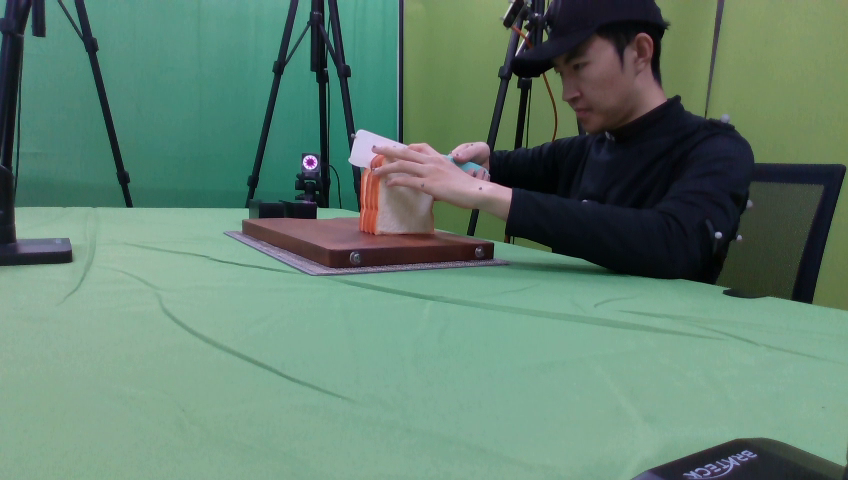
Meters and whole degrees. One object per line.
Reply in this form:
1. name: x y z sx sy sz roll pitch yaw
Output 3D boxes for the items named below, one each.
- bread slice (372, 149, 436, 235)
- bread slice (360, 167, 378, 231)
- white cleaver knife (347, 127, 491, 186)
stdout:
1. bread slice: -0.031 -0.073 0.938 0.107 0.134 0.018 -4 9 -31
2. bread slice: -0.055 -0.080 0.986 0.105 0.131 0.019 0 0 -32
3. white cleaver knife: -0.001 -0.123 1.011 0.288 0.066 0.021 11 -3 -34
